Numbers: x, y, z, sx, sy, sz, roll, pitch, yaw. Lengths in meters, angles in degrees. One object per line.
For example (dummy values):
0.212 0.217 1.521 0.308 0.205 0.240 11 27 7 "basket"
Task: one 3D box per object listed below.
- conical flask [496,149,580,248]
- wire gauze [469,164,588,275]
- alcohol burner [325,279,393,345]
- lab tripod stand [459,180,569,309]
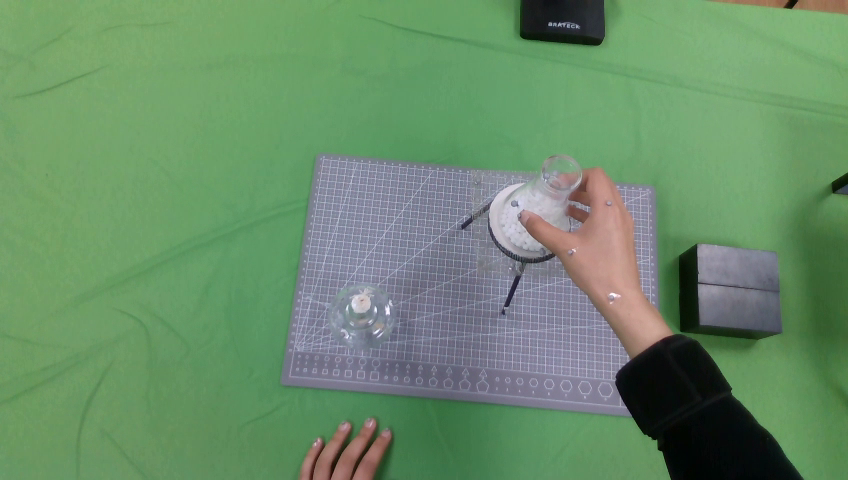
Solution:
0.115 -0.044 0.583 0.075 0.122 0.075 1 71 -3 "conical flask"
0.110 -0.024 0.640 0.125 0.011 0.121 1 74 -6 "wire gauze"
-0.073 0.077 0.677 0.078 0.119 0.077 2 71 -5 "alcohol burner"
0.109 -0.006 0.703 0.148 0.132 0.147 1 71 -3 "lab tripod stand"
